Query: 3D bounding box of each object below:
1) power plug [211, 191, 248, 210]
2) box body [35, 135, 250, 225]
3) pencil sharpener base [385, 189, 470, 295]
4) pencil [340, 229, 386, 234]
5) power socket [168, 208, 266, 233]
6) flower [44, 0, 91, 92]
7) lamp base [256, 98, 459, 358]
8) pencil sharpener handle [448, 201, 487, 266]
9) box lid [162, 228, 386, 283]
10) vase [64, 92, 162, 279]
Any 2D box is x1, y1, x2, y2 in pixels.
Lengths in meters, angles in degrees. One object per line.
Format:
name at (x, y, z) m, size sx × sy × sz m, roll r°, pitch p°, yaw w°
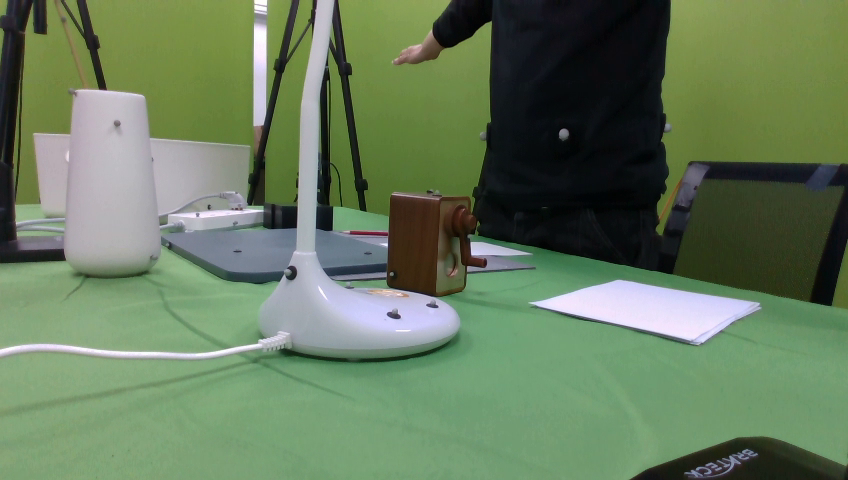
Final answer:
power plug at (-0.384, -0.071, 1.205) m, size 0.072 × 0.052 × 0.035 m, roll 1°, pitch 9°, yaw 28°
box body at (-0.560, -0.127, 1.257) m, size 0.253 × 0.160 × 0.365 m, roll 4°, pitch 8°, yaw 15°
pencil sharpener base at (0.005, 0.001, 0.652) m, size 0.076 × 0.107 × 0.061 m, roll 8°, pitch 9°, yaw 37°
pencil at (-0.057, -0.013, 1.094) m, size 0.195 × 0.012 × 0.012 m, roll 1°, pitch 7°, yaw -20°
power socket at (-0.380, -0.038, 1.129) m, size 0.072 × 0.032 × 0.227 m, roll 4°, pitch 8°, yaw 18°
flower at (-0.361, -0.142, 0.663) m, size 0.044 × 0.361 × 0.038 m, roll -11°, pitch 11°, yaw 32°
lamp base at (-0.055, -0.013, 0.463) m, size 0.160 × 0.180 × 0.180 m, roll 6°, pitch 11°, yaw 27°
pencil sharpener handle at (0.048, -0.006, 0.623) m, size 0.030 × 0.068 × 0.036 m, roll 8°, pitch 21°, yaw 37°
box lid at (-0.200, 0.014, 0.861) m, size 0.265 × 0.015 × 0.369 m, roll -4°, pitch 9°, yaw -35°
vase at (-0.348, -0.060, 0.673) m, size 0.098 × 0.200 × 0.098 m, roll 1°, pitch 7°, yaw 0°
